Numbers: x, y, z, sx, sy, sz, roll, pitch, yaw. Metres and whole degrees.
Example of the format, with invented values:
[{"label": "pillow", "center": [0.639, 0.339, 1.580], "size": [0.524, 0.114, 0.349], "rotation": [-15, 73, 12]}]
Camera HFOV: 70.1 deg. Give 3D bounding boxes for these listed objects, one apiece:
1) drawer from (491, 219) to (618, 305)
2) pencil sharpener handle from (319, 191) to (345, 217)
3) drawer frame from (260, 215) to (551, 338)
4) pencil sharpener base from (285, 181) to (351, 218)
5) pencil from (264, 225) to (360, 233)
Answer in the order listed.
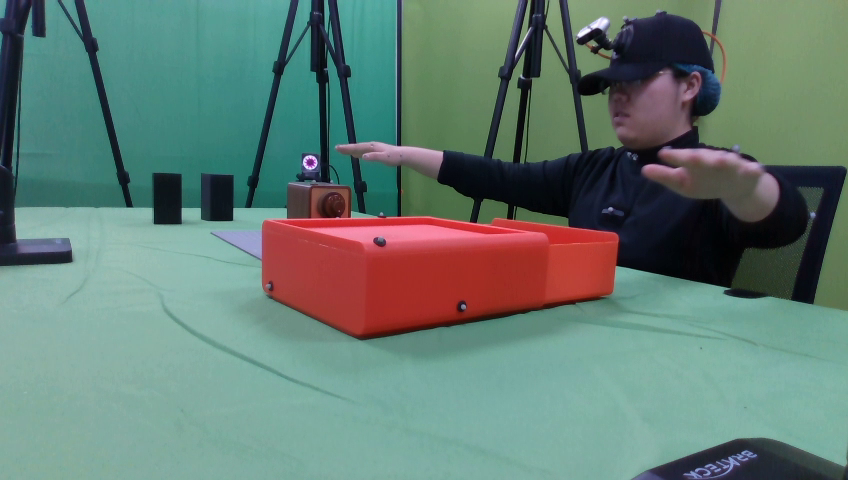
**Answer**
[{"label": "drawer", "center": [0.071, 0.021, 0.670], "size": [0.213, 0.073, 0.193], "rotation": [-4, 10, -39]}, {"label": "pencil sharpener handle", "center": [-0.107, -0.026, 0.748], "size": [0.036, 0.067, 0.030], "rotation": [-6, 11, -36]}, {"label": "drawer frame", "center": [-0.021, 0.023, 0.595], "size": [0.215, 0.082, 0.200], "rotation": [-4, 10, -38]}, {"label": "pencil sharpener base", "center": [-0.139, -0.021, 0.789], "size": [0.062, 0.107, 0.076], "rotation": [-2, 9, -36]}, {"label": "pencil", "center": [-0.212, -0.021, 1.157], "size": [0.195, 0.012, 0.012], "rotation": [-3, 9, -32]}]
